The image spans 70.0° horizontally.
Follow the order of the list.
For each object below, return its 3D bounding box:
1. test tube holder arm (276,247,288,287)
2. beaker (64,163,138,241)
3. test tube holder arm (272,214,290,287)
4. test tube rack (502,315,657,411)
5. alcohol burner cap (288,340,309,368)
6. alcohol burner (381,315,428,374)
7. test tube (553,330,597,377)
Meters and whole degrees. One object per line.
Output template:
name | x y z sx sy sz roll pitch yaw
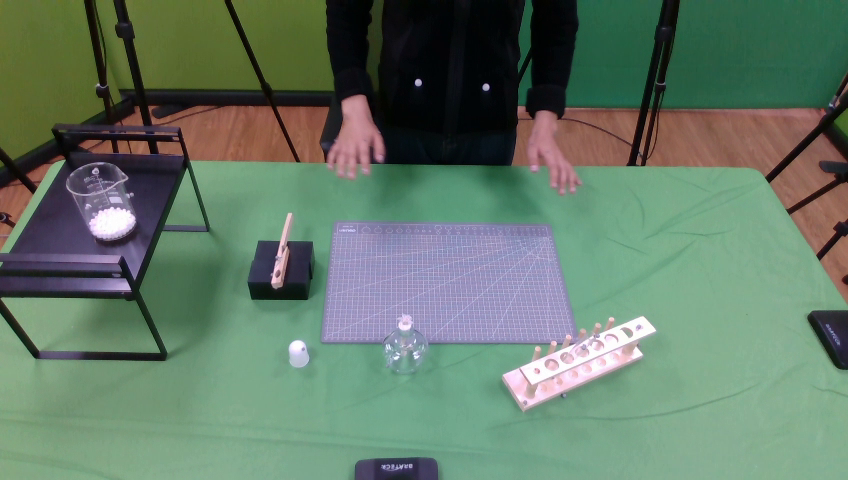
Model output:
test tube holder arm | -0.251 0.046 1.068 0.010 0.015 0.087 -1 45 -3
beaker | -0.477 -0.055 0.910 0.084 0.101 0.073 -9 48 -13
test tube holder arm | -0.259 0.015 1.099 0.013 0.015 0.177 -2 45 -3
test tube rack | 0.253 0.186 0.988 0.242 0.085 0.066 -18 50 -20
alcohol burner cap | -0.207 0.183 0.991 0.034 0.048 0.033 3 47 -3
alcohol burner | -0.031 0.162 0.973 0.078 0.120 0.077 2 44 -1
test tube | 0.226 0.176 0.924 0.017 0.151 0.017 6 55 -9
